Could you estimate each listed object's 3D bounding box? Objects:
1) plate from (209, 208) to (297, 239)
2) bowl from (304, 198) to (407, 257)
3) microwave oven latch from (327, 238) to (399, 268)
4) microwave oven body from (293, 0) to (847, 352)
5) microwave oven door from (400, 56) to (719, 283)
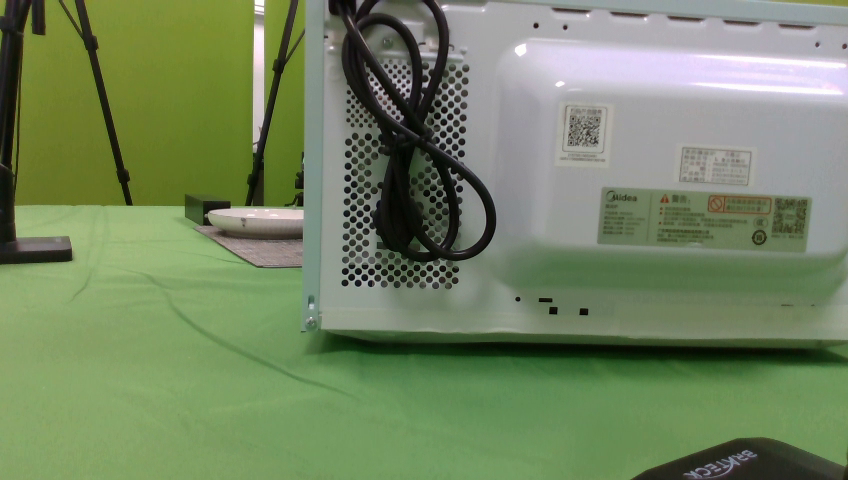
[{"bbox_3d":[-0.271,-0.029,1.074,0.208,0.039,0.207,3,7,0],"label":"plate"},{"bbox_3d":[-0.101,-0.019,0.895,0.151,0.077,0.151,2,8,0],"label":"bowl"},{"bbox_3d":[-0.069,0.015,0.694,0.079,0.029,0.030,3,7,-3],"label":"microwave oven latch"},{"bbox_3d":[0.122,-0.055,0.550,0.442,0.260,0.325,3,7,-5],"label":"microwave oven body"},{"bbox_3d":[0.155,-0.077,0.698,0.356,0.243,0.039,2,8,-5],"label":"microwave oven door"}]
